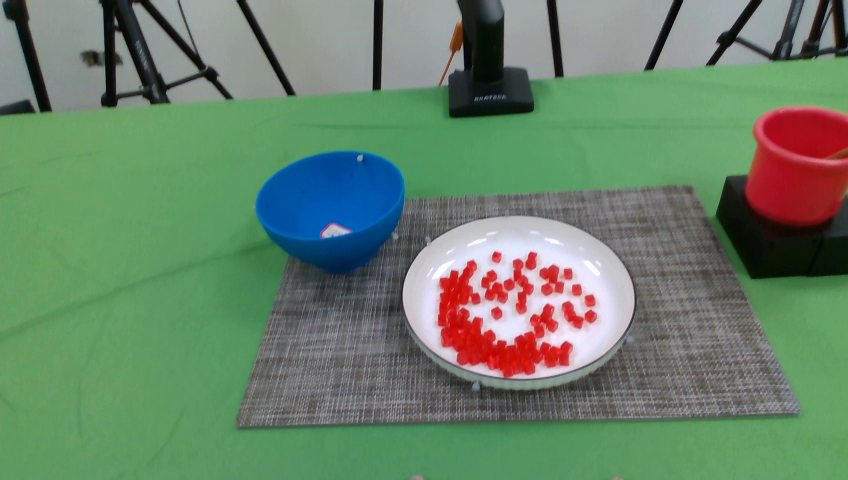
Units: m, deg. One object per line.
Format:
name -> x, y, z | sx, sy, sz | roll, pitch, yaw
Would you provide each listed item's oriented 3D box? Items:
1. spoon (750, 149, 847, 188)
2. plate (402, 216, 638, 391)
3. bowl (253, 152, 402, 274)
spoon -> 0.364, -0.071, 0.513 | 0.041, 0.193, 0.021 | -26, 90, -22
plate -> 0.085, 0.055, 0.554 | 0.207, 0.039, 0.205 | -4, 40, 3
bowl -> -0.092, -0.018, 0.630 | 0.151, 0.077, 0.150 | -3, 41, 3
